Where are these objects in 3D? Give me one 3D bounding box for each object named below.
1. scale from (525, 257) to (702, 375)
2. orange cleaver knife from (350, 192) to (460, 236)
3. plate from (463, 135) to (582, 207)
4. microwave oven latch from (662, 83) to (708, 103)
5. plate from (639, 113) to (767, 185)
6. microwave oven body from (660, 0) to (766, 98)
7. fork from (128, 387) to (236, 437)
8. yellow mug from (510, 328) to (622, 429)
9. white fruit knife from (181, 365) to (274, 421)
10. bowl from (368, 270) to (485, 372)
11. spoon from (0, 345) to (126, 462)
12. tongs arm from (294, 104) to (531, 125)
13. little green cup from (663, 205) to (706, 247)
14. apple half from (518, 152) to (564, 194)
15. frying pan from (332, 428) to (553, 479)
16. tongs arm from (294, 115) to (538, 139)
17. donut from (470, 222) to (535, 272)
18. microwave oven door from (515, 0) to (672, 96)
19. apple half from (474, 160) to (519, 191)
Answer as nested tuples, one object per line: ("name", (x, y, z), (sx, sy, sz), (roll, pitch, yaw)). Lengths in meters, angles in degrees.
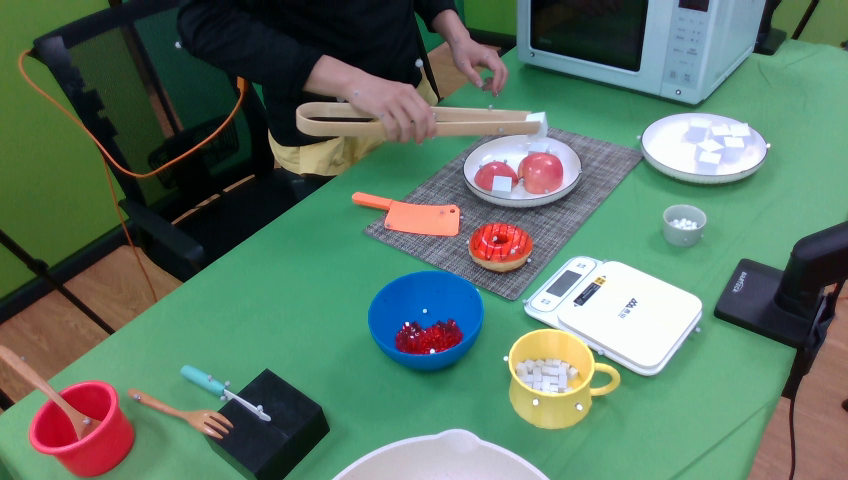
("scale", (0.254, 0.091, 0.821), (0.199, 0.032, 0.149), (28, 51, 35))
("orange cleaver knife", (-0.036, -0.045, 1.028), (0.210, 0.012, 0.077), (11, 49, 17))
("plate", (0.173, -0.119, 1.070), (0.209, 0.038, 0.208), (-4, 40, 4))
("microwave oven latch", (0.517, -0.296, 1.204), (0.078, 0.029, 0.030), (27, 52, 35))
("plate", (0.489, -0.157, 1.074), (0.207, 0.039, 0.206), (-4, 40, 4))
("microwave oven body", (0.472, -0.513, 1.317), (0.438, 0.261, 0.327), (26, 51, 34))
("fork", (-0.305, 0.207, 0.744), (0.206, 0.019, 0.028), (3, 41, 36))
("yellow mug", (0.168, 0.164, 0.721), (0.130, 0.064, 0.099), (0, 40, 8))
("white fruit knife", (-0.245, 0.187, 0.747), (0.205, 0.027, 0.016), (9, 41, 40))
("bowl", (0.007, 0.118, 0.791), (0.151, 0.077, 0.150), (-4, 40, 4))
("spoon", (-0.434, 0.192, 0.720), (0.194, 0.021, 0.042), (47, 53, -6))
("tongs arm", (-0.009, -0.192, 0.965), (0.386, 0.026, 0.050), (1, 45, -11))
("little green cup", (0.396, -0.020, 0.926), (0.061, 0.039, 0.061), (-4, 40, 4))
("apple half", (0.204, -0.124, 1.048), (0.075, 0.053, 0.080), (-6, 41, -2))
("frying pan", (-0.089, 0.306, 0.564), (0.487, 0.103, 0.306), (10, 41, 7))
("tongs arm", (-0.005, -0.175, 0.947), (0.389, 0.028, 0.028), (-2, 49, -14))
("donut", (0.119, 0.009, 0.923), (0.099, 0.048, 0.098), (-3, 39, 3))
("microwave oven door", (0.343, -0.454, 1.259), (0.353, 0.245, 0.039), (26, 51, 33))
("apple half", (0.131, -0.120, 1.068), (0.081, 0.033, 0.081), (-4, 36, 3))
